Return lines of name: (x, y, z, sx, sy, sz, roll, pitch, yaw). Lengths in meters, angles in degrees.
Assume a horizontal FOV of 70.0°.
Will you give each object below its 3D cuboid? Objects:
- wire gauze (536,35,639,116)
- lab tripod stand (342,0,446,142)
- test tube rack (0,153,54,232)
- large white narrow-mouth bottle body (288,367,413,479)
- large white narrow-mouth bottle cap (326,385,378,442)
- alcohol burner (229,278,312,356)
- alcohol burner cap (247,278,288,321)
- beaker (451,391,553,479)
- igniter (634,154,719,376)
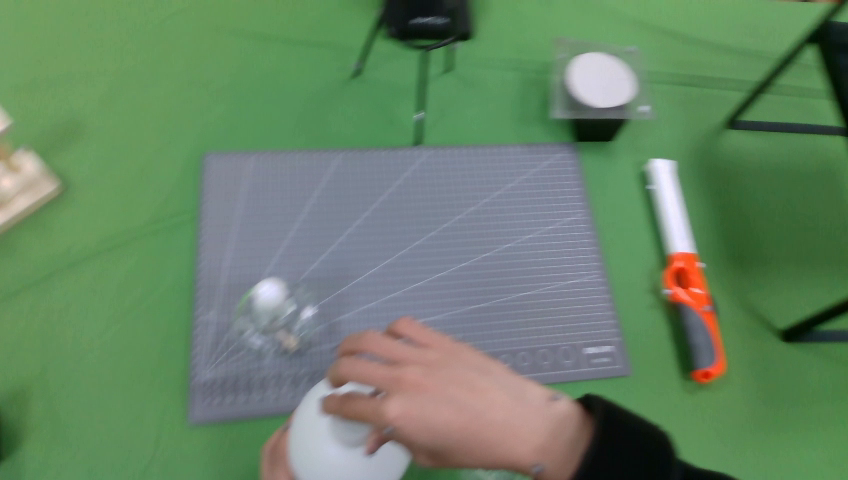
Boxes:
wire gauze: (0.200, -0.203, 0.754, 0.122, 0.011, 0.124, 3, 64, -6)
lab tripod stand: (-0.026, -0.211, 0.711, 0.149, 0.132, 0.147, 4, 65, -8)
test tube rack: (-0.496, -0.010, 0.573, 0.066, 0.085, 0.242, 41, 66, 12)
large white narrow-mouth bottle body: (-0.060, 0.159, 0.495, 0.102, 0.196, 0.101, 3, 63, -6)
large white narrow-mouth bottle cap: (-0.050, 0.120, 0.419, 0.038, 0.024, 0.037, 3, 64, -6)
alcohol burner: (-0.145, 0.066, 0.569, 0.078, 0.120, 0.077, 4, 62, -8)
alcohol burner cap: (-0.140, 0.052, 0.536, 0.034, 0.048, 0.033, 2, 70, -4)
beaker: (0.063, 0.186, 0.553, 0.084, 0.101, 0.073, 2, 64, -6)
igniter: (0.291, 0.021, 0.704, 0.057, 0.025, 0.274, 3, 65, -18)
